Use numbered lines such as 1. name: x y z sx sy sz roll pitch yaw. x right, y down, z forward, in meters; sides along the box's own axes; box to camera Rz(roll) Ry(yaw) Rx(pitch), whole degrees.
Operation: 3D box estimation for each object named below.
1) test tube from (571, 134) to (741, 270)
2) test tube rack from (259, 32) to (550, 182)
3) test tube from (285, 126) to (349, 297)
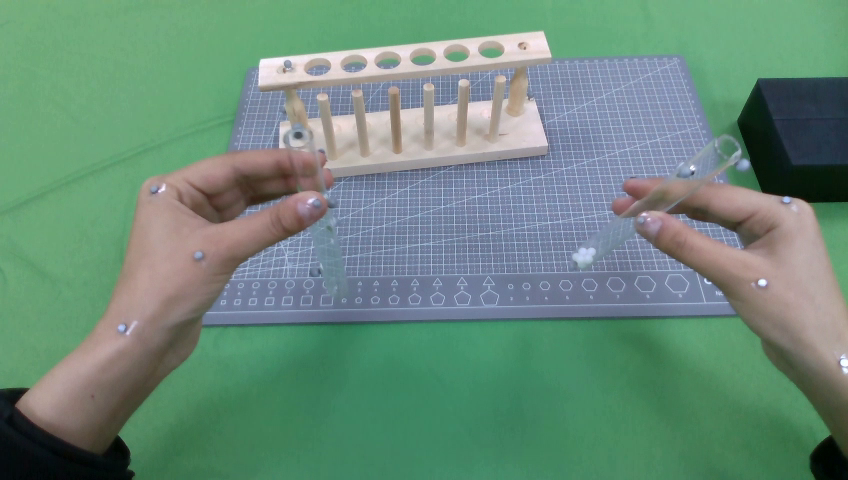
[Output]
1. test tube: 0.129 -0.015 0.361 0.017 0.151 0.017 7 63 -15
2. test tube rack: -0.013 -0.115 0.532 0.242 0.086 0.066 -6 55 -2
3. test tube: -0.060 -0.008 0.361 0.017 0.152 0.017 0 54 1
